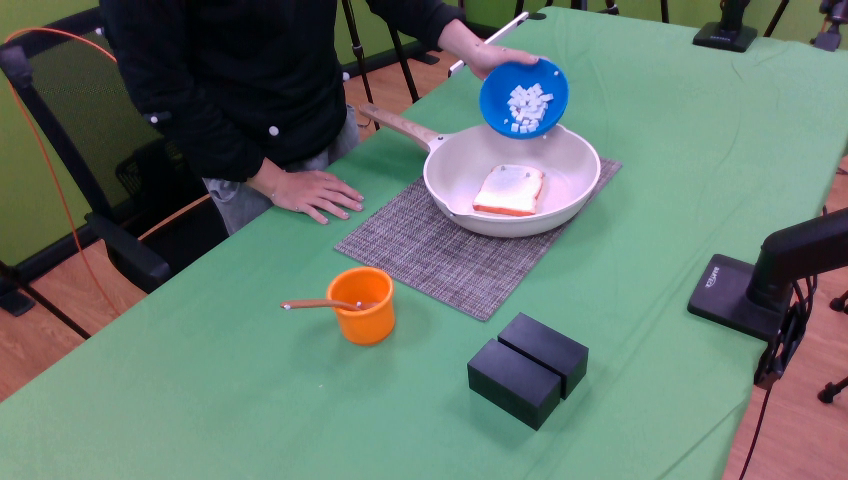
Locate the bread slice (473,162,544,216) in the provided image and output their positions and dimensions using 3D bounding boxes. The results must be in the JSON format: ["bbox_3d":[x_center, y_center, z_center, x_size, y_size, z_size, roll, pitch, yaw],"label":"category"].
[{"bbox_3d":[0.149,-0.088,1.041,0.106,0.018,0.134,7,45,15],"label":"bread slice"}]

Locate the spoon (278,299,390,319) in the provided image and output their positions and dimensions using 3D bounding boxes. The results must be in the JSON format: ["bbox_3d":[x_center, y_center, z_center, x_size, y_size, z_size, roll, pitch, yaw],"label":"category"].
[{"bbox_3d":[-0.113,0.087,0.787,0.041,0.021,0.195,29,7,36],"label":"spoon"}]

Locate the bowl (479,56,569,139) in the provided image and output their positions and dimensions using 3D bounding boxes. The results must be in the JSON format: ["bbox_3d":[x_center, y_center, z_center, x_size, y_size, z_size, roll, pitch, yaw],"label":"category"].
[{"bbox_3d":[0.174,-0.231,1.041,0.151,0.077,0.151,-4,70,13],"label":"bowl"}]

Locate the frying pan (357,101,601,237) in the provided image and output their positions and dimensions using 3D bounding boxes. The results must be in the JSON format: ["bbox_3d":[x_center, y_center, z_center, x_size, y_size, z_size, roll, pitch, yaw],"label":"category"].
[{"bbox_3d":[0.067,-0.153,1.067,0.484,0.103,0.308,32,52,26],"label":"frying pan"}]
